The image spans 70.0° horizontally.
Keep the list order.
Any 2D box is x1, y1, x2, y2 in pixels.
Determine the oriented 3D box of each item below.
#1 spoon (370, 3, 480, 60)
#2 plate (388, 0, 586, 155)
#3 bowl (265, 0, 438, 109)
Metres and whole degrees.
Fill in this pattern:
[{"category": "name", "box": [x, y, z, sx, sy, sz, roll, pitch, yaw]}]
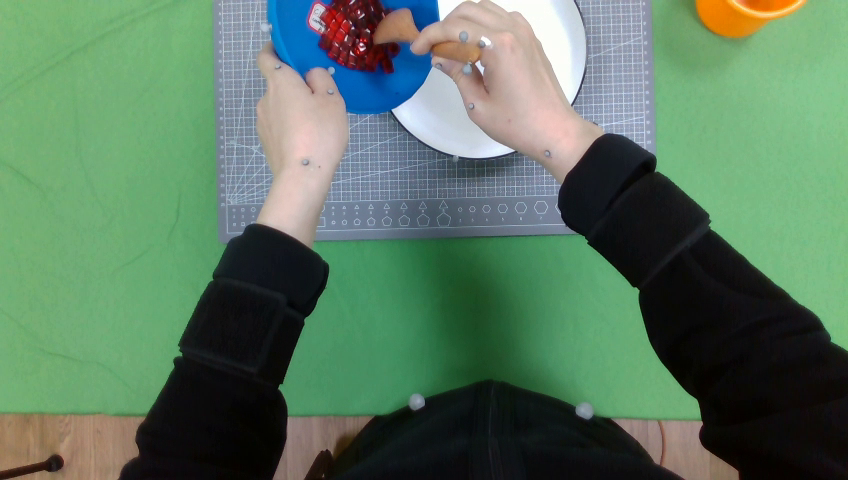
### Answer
[{"category": "spoon", "box": [-0.001, -0.155, 0.456, 0.041, 0.191, 0.022, -43, 127, 0]}, {"category": "plate", "box": [0.054, -0.187, 0.602, 0.209, 0.038, 0.209, 0, 90, 4]}, {"category": "bowl", "box": [-0.071, -0.187, 0.508, 0.152, 0.076, 0.152, -10, 107, -34]}]
